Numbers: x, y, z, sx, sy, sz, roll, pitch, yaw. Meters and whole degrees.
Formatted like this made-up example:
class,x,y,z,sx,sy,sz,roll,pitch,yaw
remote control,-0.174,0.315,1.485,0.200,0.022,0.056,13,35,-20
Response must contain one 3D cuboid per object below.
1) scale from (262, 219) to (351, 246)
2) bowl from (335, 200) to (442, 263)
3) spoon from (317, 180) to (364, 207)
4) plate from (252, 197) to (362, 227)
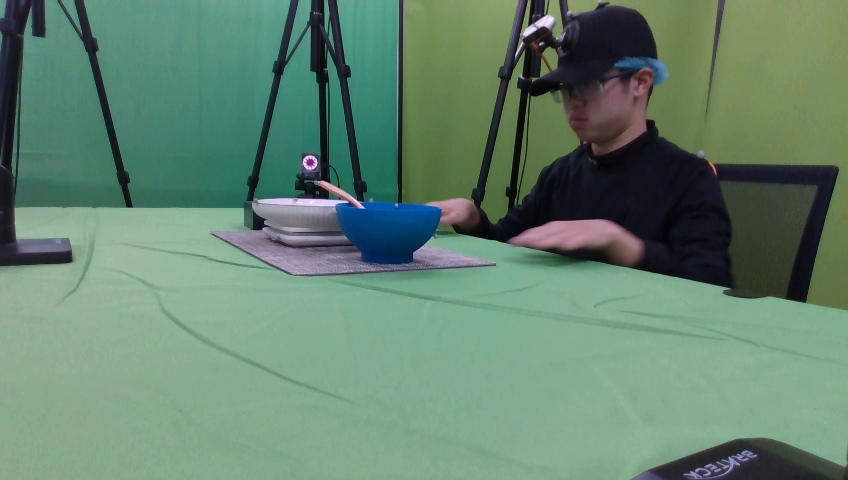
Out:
class,x,y,z,sx,sy,sz,roll,pitch,yaw
scale,-0.160,-0.015,1.027,0.202,0.031,0.148,-2,8,-32
bowl,-0.051,-0.012,0.849,0.151,0.077,0.151,2,7,0
spoon,-0.100,-0.051,0.875,0.042,0.021,0.192,-13,37,-38
plate,-0.179,-0.047,1.012,0.209,0.038,0.209,2,6,0
